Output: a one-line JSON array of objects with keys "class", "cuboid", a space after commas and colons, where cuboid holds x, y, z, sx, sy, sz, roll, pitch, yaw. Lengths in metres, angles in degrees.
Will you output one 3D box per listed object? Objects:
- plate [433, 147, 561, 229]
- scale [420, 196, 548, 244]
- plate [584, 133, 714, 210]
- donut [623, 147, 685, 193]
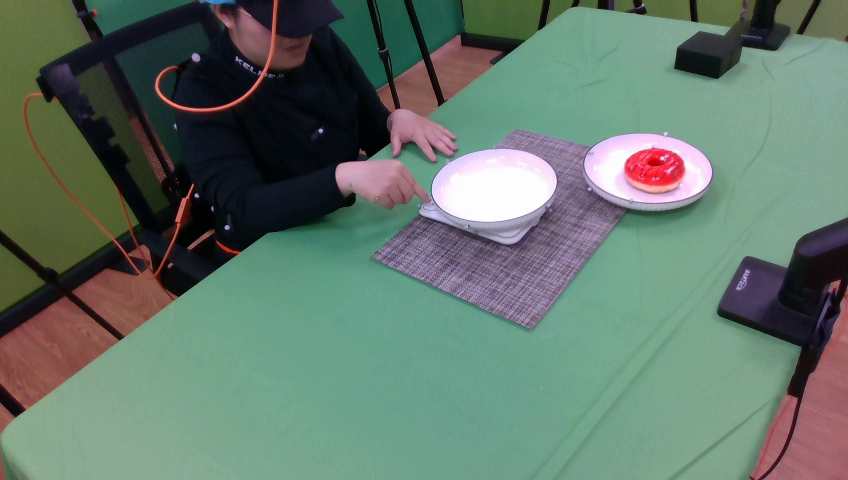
[{"class": "plate", "cuboid": [0.120, -0.082, 0.996, 0.207, 0.039, 0.206, -6, 40, 5]}, {"class": "scale", "cuboid": [0.106, -0.064, 1.029, 0.199, 0.032, 0.149, 21, 48, 32]}, {"class": "plate", "cuboid": [0.379, -0.113, 1.030, 0.209, 0.038, 0.208, -4, 41, 4]}, {"class": "donut", "cuboid": [0.388, -0.119, 1.019, 0.099, 0.048, 0.098, -4, 42, 5]}]
